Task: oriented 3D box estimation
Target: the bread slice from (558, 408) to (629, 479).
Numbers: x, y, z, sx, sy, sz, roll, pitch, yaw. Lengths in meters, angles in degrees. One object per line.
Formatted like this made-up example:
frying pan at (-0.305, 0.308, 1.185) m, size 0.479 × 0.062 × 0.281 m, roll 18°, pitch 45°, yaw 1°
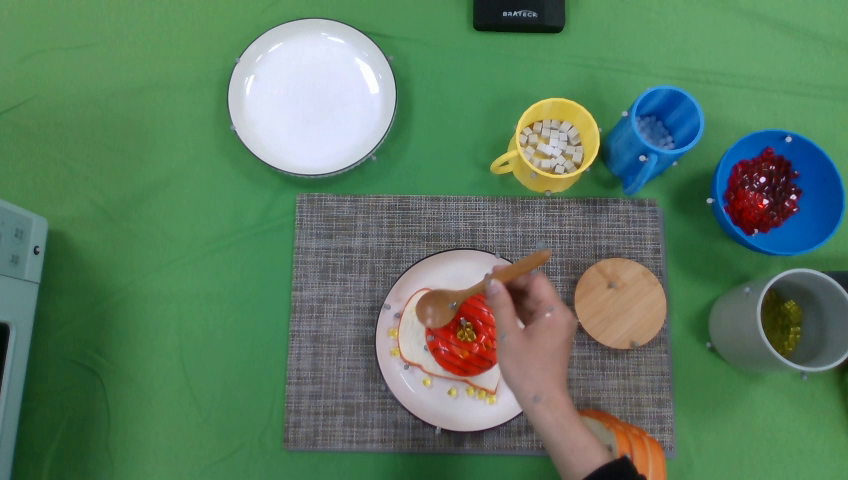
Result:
bread slice at (0.174, 0.235, 0.635) m, size 0.018 × 0.134 × 0.106 m, roll 9°, pitch 76°, yaw -8°

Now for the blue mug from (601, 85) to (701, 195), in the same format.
blue mug at (0.261, -0.108, 0.720) m, size 0.082 × 0.106 × 0.116 m, roll 21°, pitch 79°, yaw 4°

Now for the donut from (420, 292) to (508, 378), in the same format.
donut at (0.044, 0.104, 0.674) m, size 0.099 × 0.048 × 0.098 m, roll 1°, pitch 77°, yaw -2°

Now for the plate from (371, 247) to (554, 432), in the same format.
plate at (0.044, 0.113, 0.701) m, size 0.209 × 0.038 × 0.208 m, roll 0°, pitch 79°, yaw -1°

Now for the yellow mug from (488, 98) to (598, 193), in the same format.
yellow mug at (0.140, -0.108, 0.737) m, size 0.131 × 0.064 × 0.099 m, roll -20°, pitch 79°, yaw -4°

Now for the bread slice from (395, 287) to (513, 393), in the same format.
bread slice at (0.031, 0.111, 0.704) m, size 0.131 × 0.019 × 0.104 m, roll 15°, pitch 78°, yaw -1°

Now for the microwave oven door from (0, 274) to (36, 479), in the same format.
microwave oven door at (-0.469, 0.195, 0.553) m, size 0.039 × 0.244 × 0.354 m, roll 2°, pitch 78°, yaw -1°

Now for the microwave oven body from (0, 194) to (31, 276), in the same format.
microwave oven body at (-0.612, 0.149, 0.564) m, size 0.326 × 0.261 × 0.440 m, roll 2°, pitch 79°, yaw -1°

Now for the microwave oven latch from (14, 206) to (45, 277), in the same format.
microwave oven latch at (-0.460, 0.001, 0.695) m, size 0.030 × 0.029 × 0.079 m, roll 5°, pitch 79°, yaw -1°

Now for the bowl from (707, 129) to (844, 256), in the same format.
bowl at (0.402, -0.048, 0.725) m, size 0.151 × 0.077 × 0.150 m, roll 0°, pitch 79°, yaw -1°

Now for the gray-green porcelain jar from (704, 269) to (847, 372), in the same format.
gray-green porcelain jar at (0.383, 0.093, 0.672) m, size 0.106 × 0.127 × 0.105 m, roll 0°, pitch 78°, yaw -1°

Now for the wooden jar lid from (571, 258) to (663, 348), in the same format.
wooden jar lid at (0.228, 0.075, 0.722) m, size 0.108 × 0.021 × 0.108 m, roll 0°, pitch 80°, yaw -1°

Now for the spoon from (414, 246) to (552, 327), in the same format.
spoon at (0.052, 0.047, 0.595) m, size 0.022 × 0.193 × 0.041 m, roll -17°, pitch 80°, yaw -40°

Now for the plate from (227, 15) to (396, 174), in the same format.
plate at (-0.138, -0.178, 0.758) m, size 0.208 × 0.039 × 0.206 m, roll 0°, pitch 79°, yaw -1°
